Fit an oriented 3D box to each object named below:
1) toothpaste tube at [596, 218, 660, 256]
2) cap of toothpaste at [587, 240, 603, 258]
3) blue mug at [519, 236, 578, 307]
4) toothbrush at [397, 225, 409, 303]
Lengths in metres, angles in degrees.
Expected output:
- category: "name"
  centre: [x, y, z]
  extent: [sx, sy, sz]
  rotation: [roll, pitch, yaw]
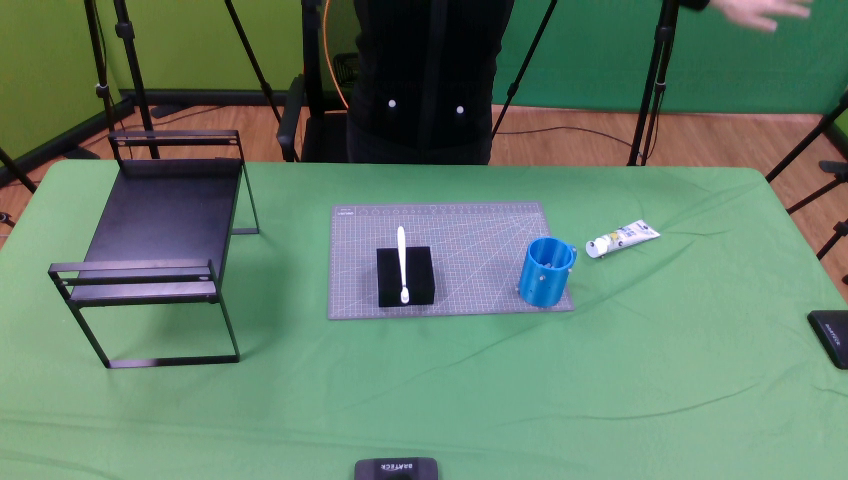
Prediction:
- category: "toothpaste tube"
  centre: [0.405, -0.005, 1.226]
  extent: [0.165, 0.034, 0.054]
  rotation: [-20, 55, -26]
- category: "cap of toothpaste"
  centre: [0.337, 0.017, 1.193]
  extent: [0.011, 0.037, 0.037]
  rotation: [-20, 51, -26]
- category: "blue mug"
  centre: [0.234, 0.052, 1.102]
  extent: [0.116, 0.106, 0.082]
  rotation: [-23, 52, -24]
- category: "toothbrush"
  centre: [-0.038, 0.038, 1.090]
  extent: [0.014, 0.017, 0.180]
  rotation: [-6, 46, 0]
